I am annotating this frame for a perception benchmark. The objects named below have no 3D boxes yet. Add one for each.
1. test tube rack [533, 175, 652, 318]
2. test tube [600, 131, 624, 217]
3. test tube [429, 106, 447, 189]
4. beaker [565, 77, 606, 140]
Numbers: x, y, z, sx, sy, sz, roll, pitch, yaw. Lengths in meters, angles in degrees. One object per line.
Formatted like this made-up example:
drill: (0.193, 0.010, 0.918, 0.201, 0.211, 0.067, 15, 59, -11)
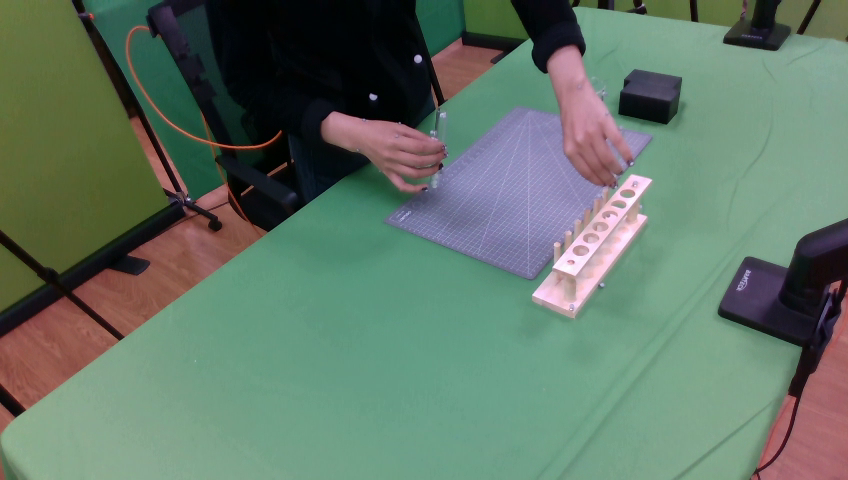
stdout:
test tube rack: (0.251, -0.001, 0.888, 0.066, 0.085, 0.243, 23, 49, 32)
test tube: (0.275, -0.095, 0.891, 0.017, 0.151, 0.017, -2, 43, 2)
test tube: (0.021, -0.140, 0.945, 0.017, 0.151, 0.017, 3, 43, -3)
beaker: (0.305, -0.247, 1.153, 0.073, 0.101, 0.084, 15, 47, 27)
